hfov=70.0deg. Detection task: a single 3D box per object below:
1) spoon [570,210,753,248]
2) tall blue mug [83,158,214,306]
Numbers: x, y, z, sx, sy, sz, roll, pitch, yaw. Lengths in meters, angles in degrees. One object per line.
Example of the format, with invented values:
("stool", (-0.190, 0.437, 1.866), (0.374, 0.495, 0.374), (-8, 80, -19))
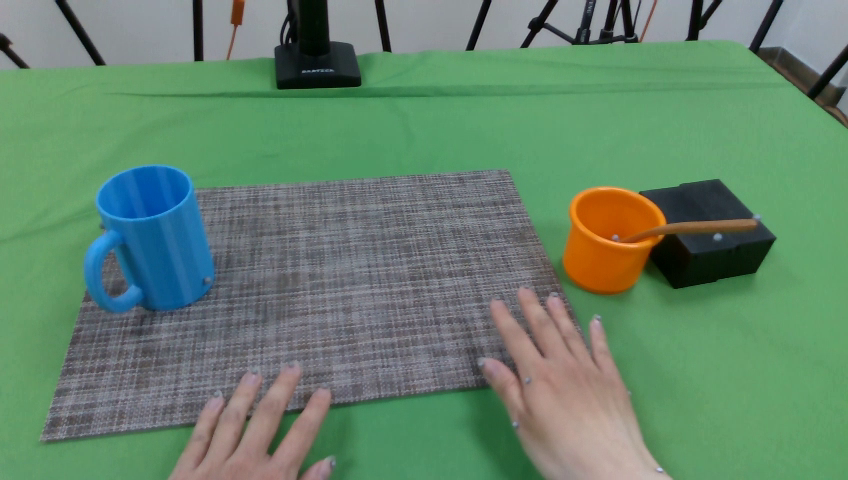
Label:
("spoon", (0.209, -0.012, 0.561), (0.042, 0.193, 0.021), (-22, 93, -29))
("tall blue mug", (-0.237, 0.003, 0.531), (0.078, 0.109, 0.106), (1, 43, -4))
